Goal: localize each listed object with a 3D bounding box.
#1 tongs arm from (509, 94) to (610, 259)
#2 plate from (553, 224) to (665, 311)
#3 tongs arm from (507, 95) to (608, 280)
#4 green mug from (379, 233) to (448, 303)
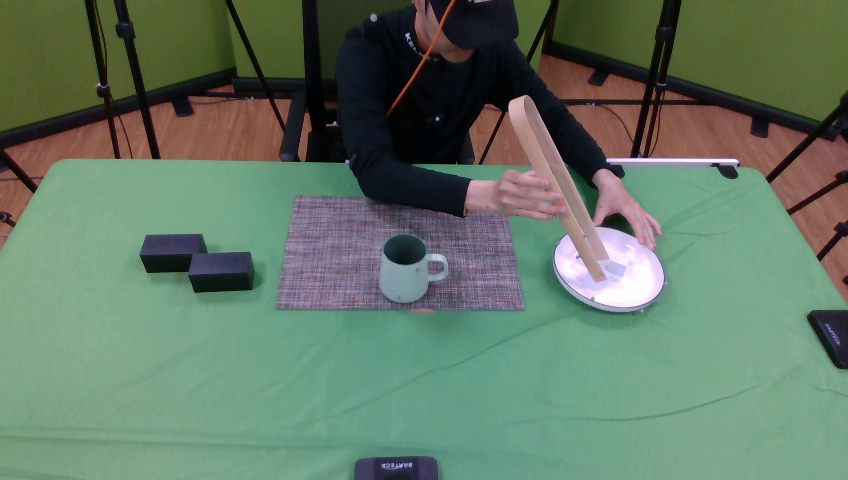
[{"bbox_3d":[0.242,-0.097,1.040,0.027,0.390,0.028,-10,42,36],"label":"tongs arm"},{"bbox_3d":[0.349,0.055,1.159,0.209,0.038,0.208,2,47,-2],"label":"plate"},{"bbox_3d":[0.232,-0.073,1.017,0.026,0.387,0.050,-12,41,33],"label":"tongs arm"},{"bbox_3d":[-0.019,0.050,1.085,0.125,0.105,0.092,0,46,-4],"label":"green mug"}]
